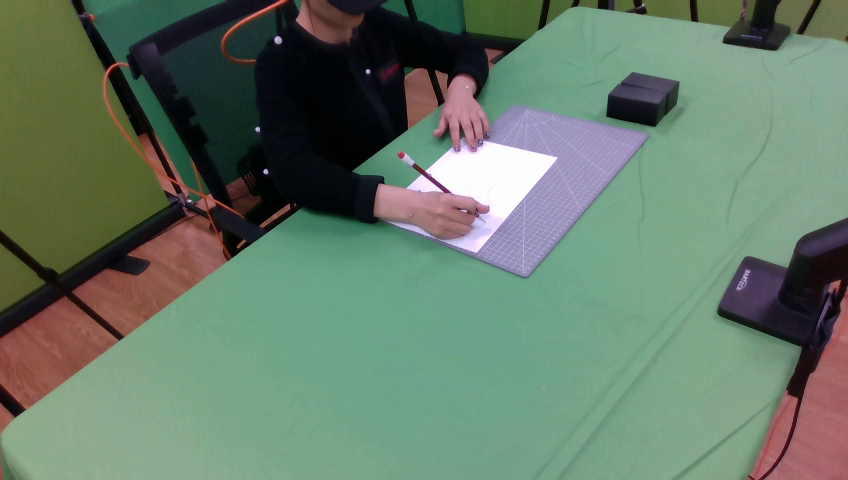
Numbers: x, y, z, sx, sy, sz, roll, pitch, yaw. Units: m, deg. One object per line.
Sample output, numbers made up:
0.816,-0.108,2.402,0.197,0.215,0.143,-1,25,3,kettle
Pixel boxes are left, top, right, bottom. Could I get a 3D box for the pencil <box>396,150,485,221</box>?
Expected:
0.031,-0.083,0.965,0.012,0.195,0.012,-39,30,28,pencil
